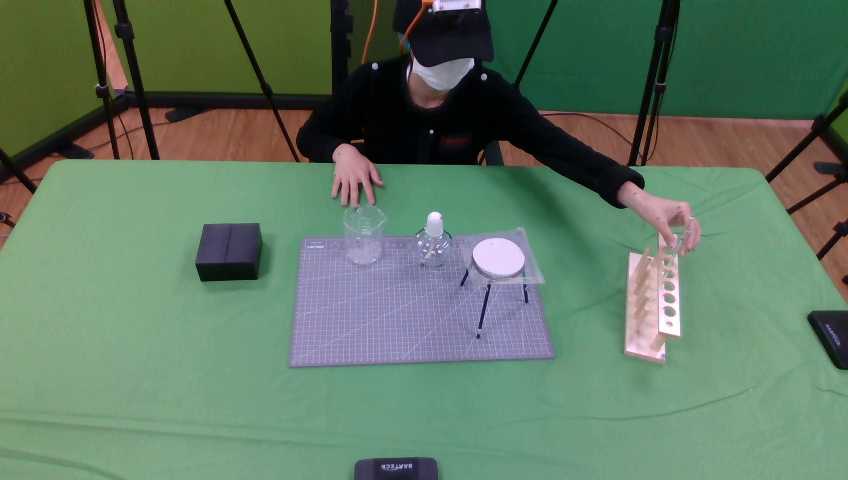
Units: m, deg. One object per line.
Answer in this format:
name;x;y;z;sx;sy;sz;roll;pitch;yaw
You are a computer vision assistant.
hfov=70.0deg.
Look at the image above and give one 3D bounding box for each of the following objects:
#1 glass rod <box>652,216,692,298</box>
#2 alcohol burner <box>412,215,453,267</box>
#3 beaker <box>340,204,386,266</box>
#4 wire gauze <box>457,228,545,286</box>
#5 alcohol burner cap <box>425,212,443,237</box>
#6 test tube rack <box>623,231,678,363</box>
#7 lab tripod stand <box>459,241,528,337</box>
glass rod;0.433;0.035;1.062;0.008;0.200;0.008;2;43;-2
alcohol burner;0.017;-0.006;1.139;0.078;0.119;0.077;2;48;-2
beaker;-0.114;-0.008;1.140;0.084;0.101;0.073;-3;46;-8
wire gauze;0.126;0.029;1.006;0.125;0.011;0.120;-4;46;-10
alcohol burner cap;0.019;-0.032;1.114;0.034;0.048;0.033;0;49;0
test tube rack;0.410;0.094;1.096;0.066;0.085;0.241;12;46;9
lab tripod stand;0.122;0.075;1.054;0.148;0.132;0.147;3;44;-3
